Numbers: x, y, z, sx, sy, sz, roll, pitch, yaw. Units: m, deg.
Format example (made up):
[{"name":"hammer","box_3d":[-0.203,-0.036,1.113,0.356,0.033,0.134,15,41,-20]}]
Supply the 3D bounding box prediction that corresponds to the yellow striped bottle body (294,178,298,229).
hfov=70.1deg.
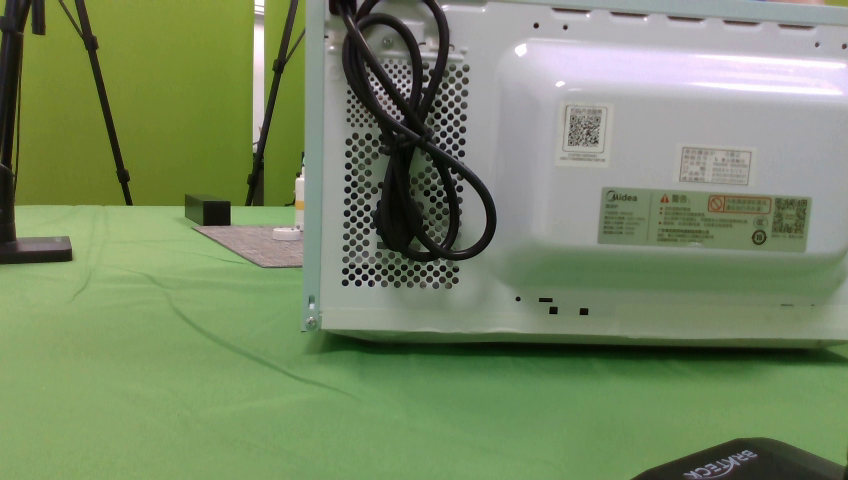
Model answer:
[{"name":"yellow striped bottle body","box_3d":[-0.213,-0.078,1.142,0.063,0.120,0.063,2,8,0]}]

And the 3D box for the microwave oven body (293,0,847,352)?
[{"name":"microwave oven body","box_3d":[0.122,-0.055,0.551,0.442,0.260,0.325,3,7,-5]}]

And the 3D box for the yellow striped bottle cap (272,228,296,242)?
[{"name":"yellow striped bottle cap","box_3d":[-0.232,-0.008,1.012,0.044,0.018,0.044,4,9,0]}]

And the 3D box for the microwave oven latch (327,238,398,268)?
[{"name":"microwave oven latch","box_3d":[-0.070,0.015,0.694,0.079,0.029,0.030,3,7,-3]}]

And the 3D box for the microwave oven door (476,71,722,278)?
[{"name":"microwave oven door","box_3d":[0.217,-0.094,0.837,0.039,0.243,0.354,-2,8,-41]}]
